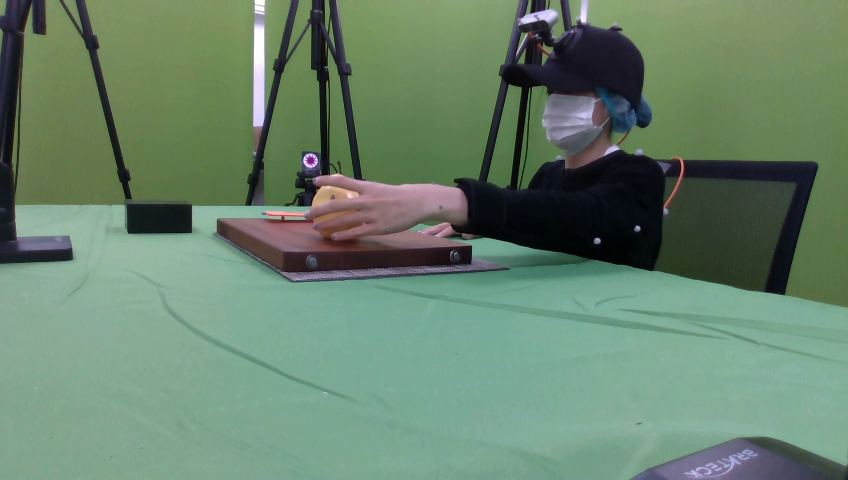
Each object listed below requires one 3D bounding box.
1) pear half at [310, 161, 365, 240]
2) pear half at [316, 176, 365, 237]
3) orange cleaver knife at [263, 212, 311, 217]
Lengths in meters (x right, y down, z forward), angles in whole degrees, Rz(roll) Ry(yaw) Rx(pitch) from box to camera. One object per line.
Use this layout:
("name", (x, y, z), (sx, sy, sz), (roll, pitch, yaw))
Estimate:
("pear half", (-0.122, -0.055, 0.837), (0.076, 0.110, 0.056), (-3, 7, 1))
("pear half", (-0.120, -0.049, 0.874), (0.070, 0.088, 0.031), (-2, 8, -1))
("orange cleaver knife", (-0.192, -0.045, 1.097), (0.212, 0.012, 0.077), (0, 4, -39))
